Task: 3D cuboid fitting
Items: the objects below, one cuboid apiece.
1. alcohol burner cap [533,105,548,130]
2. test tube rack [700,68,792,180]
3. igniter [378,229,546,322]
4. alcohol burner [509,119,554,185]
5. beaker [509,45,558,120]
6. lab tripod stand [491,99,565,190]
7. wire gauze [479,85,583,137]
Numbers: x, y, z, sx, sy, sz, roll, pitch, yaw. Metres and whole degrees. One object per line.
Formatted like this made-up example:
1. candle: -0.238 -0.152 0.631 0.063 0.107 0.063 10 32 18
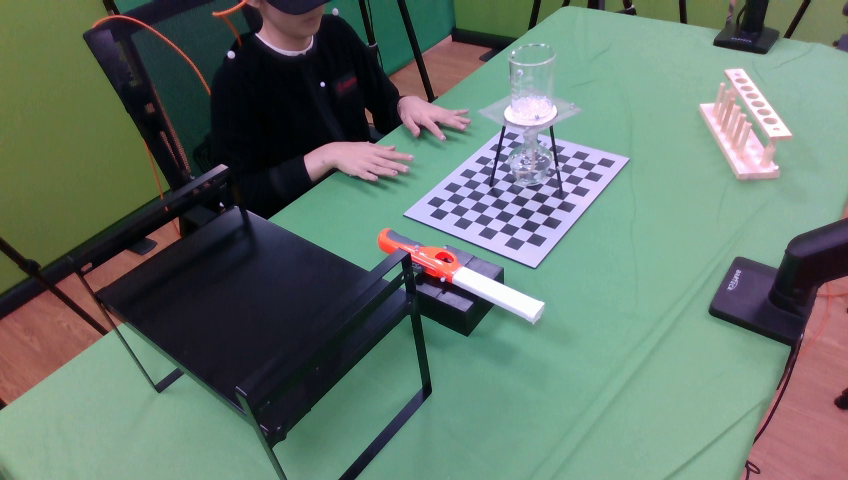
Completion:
1. alcohol burner cap: 0.235 -0.251 1.217 0.034 0.048 0.033 -5 41 5
2. test tube rack: 0.572 -0.215 1.089 0.066 0.085 0.241 -3 41 7
3. igniter: 0.041 0.043 0.843 0.274 0.025 0.057 24 47 29
4. alcohol burner: 0.188 -0.157 1.054 0.078 0.119 0.077 -4 39 4
5. beaker: 0.174 -0.253 0.977 0.074 0.101 0.083 -37 48 -28
6. lab tripod stand: 0.184 -0.163 1.046 0.148 0.132 0.147 -5 43 5
7. wire gauze: 0.177 -0.215 1.007 0.125 0.011 0.120 -31 44 -20
